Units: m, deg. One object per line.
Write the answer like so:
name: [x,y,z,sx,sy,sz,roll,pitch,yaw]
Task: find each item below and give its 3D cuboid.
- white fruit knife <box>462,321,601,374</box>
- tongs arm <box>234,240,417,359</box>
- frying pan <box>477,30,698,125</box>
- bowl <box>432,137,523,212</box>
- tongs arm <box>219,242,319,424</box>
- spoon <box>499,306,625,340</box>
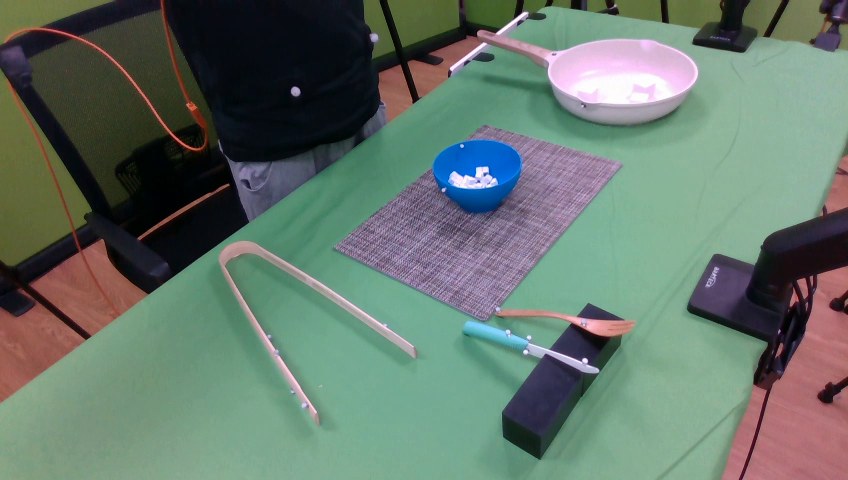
white fruit knife: [0.126,0.132,0.752,0.205,0.027,0.016,12,47,42]
tongs arm: [-0.157,0.078,0.895,0.384,0.028,0.028,26,53,33]
frying pan: [0.321,-0.371,1.290,0.484,0.103,0.308,29,51,24]
bowl: [0.091,-0.100,1.022,0.151,0.077,0.150,-4,41,4]
tongs arm: [-0.220,0.113,0.856,0.051,0.026,0.381,-28,44,-24]
spoon: [0.169,0.101,0.773,0.042,0.021,0.192,-10,13,-38]
